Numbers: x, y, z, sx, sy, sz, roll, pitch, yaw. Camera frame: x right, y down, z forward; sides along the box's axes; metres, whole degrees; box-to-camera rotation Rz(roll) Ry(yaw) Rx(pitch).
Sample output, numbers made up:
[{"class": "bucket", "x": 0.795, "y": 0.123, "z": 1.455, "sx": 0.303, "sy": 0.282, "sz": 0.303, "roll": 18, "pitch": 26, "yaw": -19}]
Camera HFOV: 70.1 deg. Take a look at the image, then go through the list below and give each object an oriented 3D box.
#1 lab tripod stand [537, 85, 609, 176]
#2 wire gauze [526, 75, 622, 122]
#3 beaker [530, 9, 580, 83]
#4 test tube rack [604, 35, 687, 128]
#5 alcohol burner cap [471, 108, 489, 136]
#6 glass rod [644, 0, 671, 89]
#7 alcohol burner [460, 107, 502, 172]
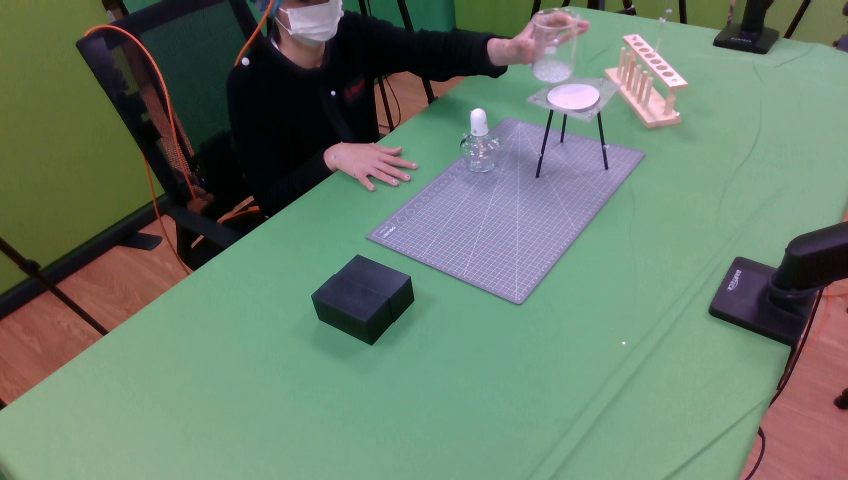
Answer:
[{"class": "lab tripod stand", "x": 0.259, "y": -0.192, "z": 1.068, "sx": 0.148, "sy": 0.132, "sz": 0.147, "roll": -4, "pitch": 43, "yaw": 4}, {"class": "wire gauze", "x": 0.255, "y": -0.248, "z": 1.030, "sx": 0.124, "sy": 0.011, "sz": 0.122, "roll": 24, "pitch": 50, "yaw": 33}, {"class": "beaker", "x": 0.217, "y": -0.322, "z": 1.008, "sx": 0.084, "sy": 0.101, "sz": 0.073, "roll": -12, "pitch": 45, "yaw": -5}, {"class": "test tube rack", "x": 0.447, "y": -0.330, "z": 1.241, "sx": 0.067, "sy": 0.085, "sz": 0.241, "roll": -9, "pitch": 41, "yaw": -2}, {"class": "alcohol burner cap", "x": 0.098, "y": -0.211, "z": 1.074, "sx": 0.034, "sy": 0.048, "sz": 0.033, "roll": -7, "pitch": 42, "yaw": 6}, {"class": "glass rod", "x": 0.463, "y": -0.387, "z": 1.204, "sx": 0.008, "sy": 0.200, "sz": 0.008, "roll": 0, "pitch": 46, "yaw": 1}, {"class": "alcohol burner", "x": 0.102, "y": -0.185, "z": 1.098, "sx": 0.078, "sy": 0.119, "sz": 0.077, "roll": -6, "pitch": 40, "yaw": 5}]
